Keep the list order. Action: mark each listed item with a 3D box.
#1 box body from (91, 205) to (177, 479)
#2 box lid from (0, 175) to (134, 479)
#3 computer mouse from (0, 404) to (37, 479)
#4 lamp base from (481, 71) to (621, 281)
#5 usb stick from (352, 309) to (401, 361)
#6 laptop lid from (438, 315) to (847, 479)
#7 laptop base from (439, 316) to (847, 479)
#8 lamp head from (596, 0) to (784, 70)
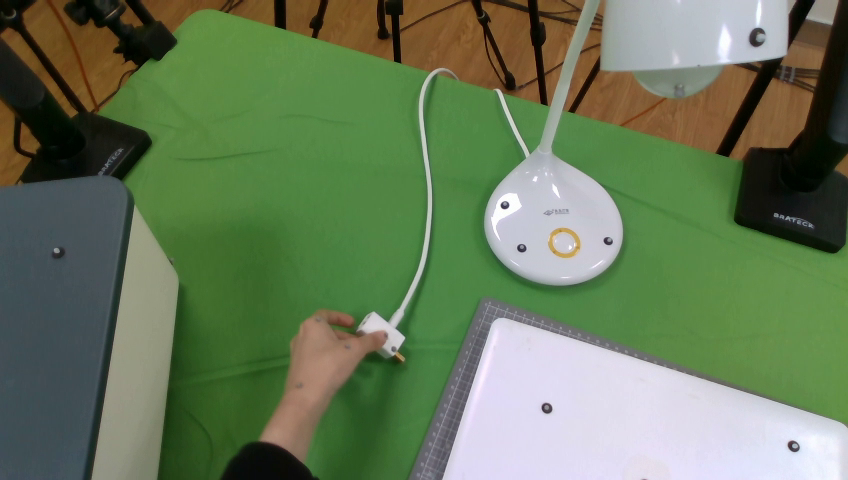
[{"bbox_3d":[-0.375,0.147,0.527,0.254,0.162,0.360,-6,59,-3],"label":"box body"},{"bbox_3d":[-0.376,0.107,0.464,0.263,0.015,0.368,-6,60,-3],"label":"box lid"},{"bbox_3d":[-0.403,0.193,0.557,0.063,0.041,0.116,-32,24,-7],"label":"computer mouse"},{"bbox_3d":[0.141,-0.073,0.644,0.161,0.182,0.177,-16,57,-9],"label":"lamp base"},{"bbox_3d":[-0.044,0.100,0.626,0.059,0.021,0.027,46,54,-10],"label":"usb stick"},{"bbox_3d":[0.198,0.219,0.549,0.355,0.013,0.240,18,63,11],"label":"laptop lid"},{"bbox_3d":[0.199,0.223,0.561,0.353,0.023,0.234,16,64,10],"label":"laptop base"},{"bbox_3d":[0.161,-0.171,0.377,0.112,0.112,0.123,-8,103,-4],"label":"lamp head"}]
